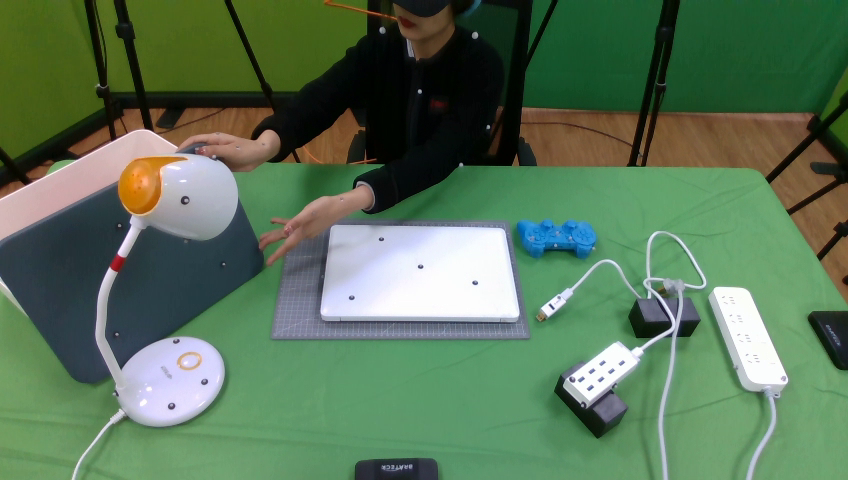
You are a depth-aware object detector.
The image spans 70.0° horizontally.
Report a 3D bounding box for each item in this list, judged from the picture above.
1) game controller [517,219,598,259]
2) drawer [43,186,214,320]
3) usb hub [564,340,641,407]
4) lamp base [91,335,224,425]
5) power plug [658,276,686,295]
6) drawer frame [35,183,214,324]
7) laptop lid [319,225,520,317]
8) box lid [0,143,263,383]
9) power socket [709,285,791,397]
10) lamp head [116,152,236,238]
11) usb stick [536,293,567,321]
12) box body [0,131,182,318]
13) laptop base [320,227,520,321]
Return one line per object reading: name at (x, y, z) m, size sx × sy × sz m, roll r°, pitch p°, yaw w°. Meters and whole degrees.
game controller at (0.269, -0.012, 1.210) m, size 0.155 × 0.052 × 0.096 m, roll 1°, pitch 50°, yaw -2°
drawer at (-0.528, 0.018, 1.095) m, size 0.194 × 0.073 × 0.211 m, roll 28°, pitch 53°, yaw 22°
usb hub at (0.278, 0.205, 0.944) m, size 0.125 × 0.025 × 0.049 m, roll -27°, pitch 52°, yaw -28°
lamp base at (-0.401, 0.171, 0.892) m, size 0.160 × 0.181 × 0.179 m, roll 30°, pitch 53°, yaw 23°
power plug at (0.450, 0.087, 1.113) m, size 0.073 × 0.052 × 0.035 m, roll -13°, pitch 72°, yaw -55°
drawer frame at (-0.531, 0.017, 1.091) m, size 0.201 × 0.083 × 0.213 m, roll 28°, pitch 52°, yaw 21°
laptop lid at (-0.008, 0.052, 1.131) m, size 0.357 × 0.013 × 0.240 m, roll 2°, pitch 43°, yaw -2°
box lid at (-0.443, 0.028, 0.978) m, size 0.015 × 0.264 × 0.371 m, roll 13°, pitch 40°, yaw 41°
power socket at (0.567, 0.167, 1.064) m, size 0.072 × 0.033 × 0.225 m, roll 2°, pitch 46°, yaw 0°
lamp head at (-0.315, -0.057, 0.747) m, size 0.112 × 0.112 × 0.123 m, roll 26°, pitch 10°, yaw 20°
usb stick at (0.226, 0.122, 1.083) m, size 0.059 × 0.027 × 0.021 m, roll -38°, pitch 76°, yaw -8°
box body at (-0.550, -0.007, 1.068) m, size 0.253 × 0.161 × 0.363 m, roll 30°, pitch 51°, yaw 23°
laptop base at (-0.009, 0.061, 1.137) m, size 0.354 × 0.023 × 0.234 m, roll 1°, pitch 42°, yaw -3°
